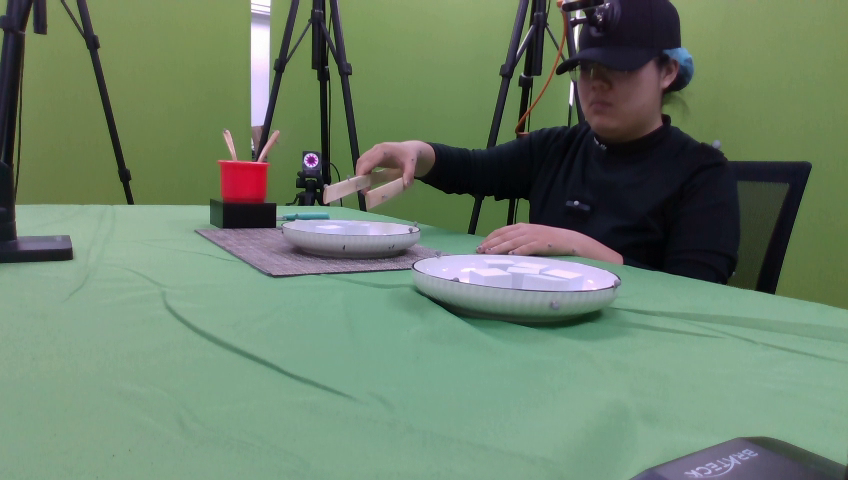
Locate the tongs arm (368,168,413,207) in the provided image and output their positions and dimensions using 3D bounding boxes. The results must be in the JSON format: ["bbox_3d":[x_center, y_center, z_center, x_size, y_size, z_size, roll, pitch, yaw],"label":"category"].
[{"bbox_3d":[-0.053,-0.094,1.022,0.028,0.028,0.388,-1,11,8],"label":"tongs arm"}]

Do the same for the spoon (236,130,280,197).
[{"bbox_3d":[-0.321,-0.154,1.192,0.041,0.193,0.022,0,-37,19],"label":"spoon"}]

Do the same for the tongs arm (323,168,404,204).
[{"bbox_3d":[-0.090,-0.097,1.028,0.051,0.026,0.385,3,11,7],"label":"tongs arm"}]

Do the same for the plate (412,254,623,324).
[{"bbox_3d":[0.091,0.047,0.609,0.209,0.038,0.209,2,7,0],"label":"plate"}]

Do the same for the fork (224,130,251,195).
[{"bbox_3d":[-0.372,-0.155,1.193,0.028,0.018,0.206,-17,54,-13],"label":"fork"}]

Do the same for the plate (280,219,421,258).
[{"bbox_3d":[-0.108,-0.002,0.902,0.208,0.039,0.207,3,7,0],"label":"plate"}]

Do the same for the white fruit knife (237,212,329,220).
[{"bbox_3d":[-0.304,-0.050,1.328,0.208,0.016,0.027,-3,-19,-29],"label":"white fruit knife"}]
